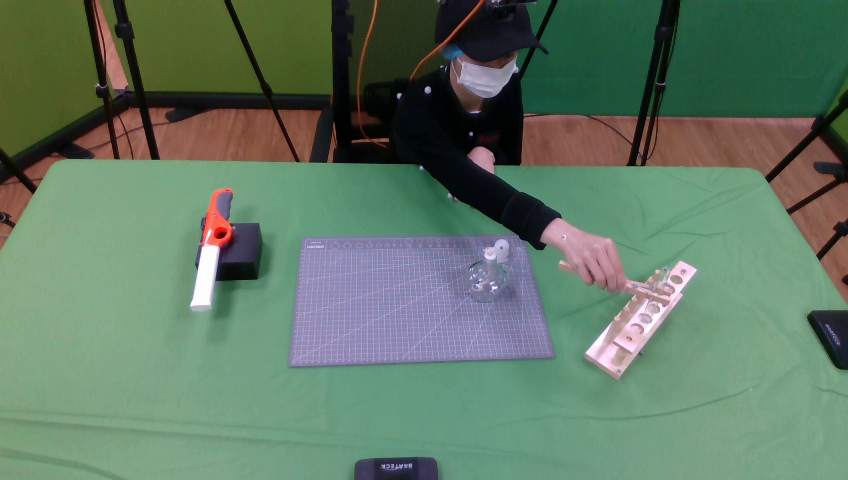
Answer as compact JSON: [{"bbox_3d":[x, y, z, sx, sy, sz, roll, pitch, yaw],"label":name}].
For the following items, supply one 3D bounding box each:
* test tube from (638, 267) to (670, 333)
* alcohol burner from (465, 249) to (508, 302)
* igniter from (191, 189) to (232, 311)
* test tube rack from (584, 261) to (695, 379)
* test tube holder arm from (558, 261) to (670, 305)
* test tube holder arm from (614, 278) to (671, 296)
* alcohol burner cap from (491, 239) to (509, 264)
[{"bbox_3d":[0.367,0.099,0.972,0.017,0.151,0.017,0,44,0],"label":"test tube"},{"bbox_3d":[0.114,0.057,1.085,0.078,0.120,0.077,2,48,-2],"label":"alcohol burner"},{"bbox_3d":[-0.381,0.008,1.092,0.057,0.025,0.274,-1,50,-6],"label":"igniter"},{"bbox_3d":[0.380,0.127,1.062,0.066,0.085,0.242,34,53,26],"label":"test tube rack"},{"bbox_3d":[0.302,0.068,0.971,0.178,0.015,0.013,18,43,14],"label":"test tube holder arm"},{"bbox_3d":[0.346,0.076,0.966,0.088,0.015,0.010,12,43,8],"label":"test tube holder arm"},{"bbox_3d":[0.150,0.020,1.174,0.034,0.048,0.033,2,46,-2],"label":"alcohol burner cap"}]
